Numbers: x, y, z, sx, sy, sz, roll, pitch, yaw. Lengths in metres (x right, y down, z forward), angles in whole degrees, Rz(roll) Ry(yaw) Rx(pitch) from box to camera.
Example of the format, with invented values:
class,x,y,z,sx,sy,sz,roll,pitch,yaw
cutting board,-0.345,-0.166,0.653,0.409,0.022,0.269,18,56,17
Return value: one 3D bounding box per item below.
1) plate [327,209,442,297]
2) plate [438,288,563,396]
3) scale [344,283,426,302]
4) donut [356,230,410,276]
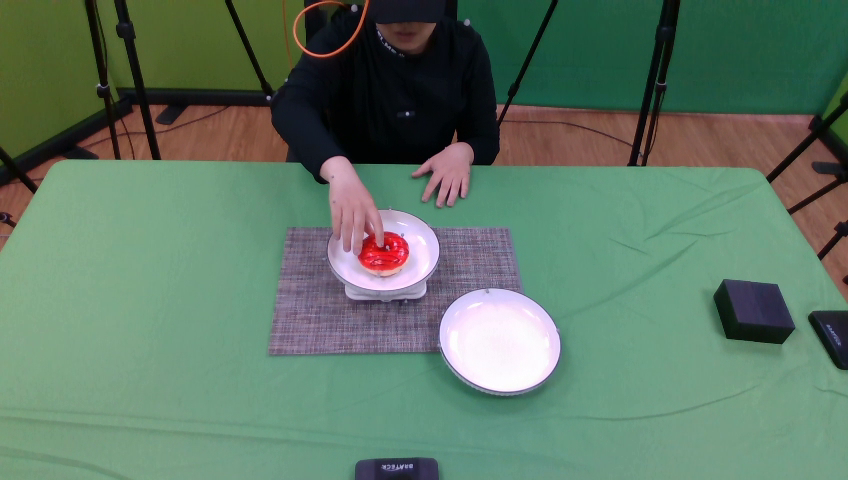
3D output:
class,x,y,z,sx,sy,sz,roll,pitch,yaw
plate,-0.072,0.027,1.110,0.208,0.039,0.206,2,46,-1
plate,0.127,0.173,1.025,0.209,0.038,0.208,3,48,-3
scale,-0.075,0.033,1.149,0.149,0.032,0.199,0,45,-5
donut,-0.073,0.022,1.097,0.099,0.048,0.098,0,45,0
